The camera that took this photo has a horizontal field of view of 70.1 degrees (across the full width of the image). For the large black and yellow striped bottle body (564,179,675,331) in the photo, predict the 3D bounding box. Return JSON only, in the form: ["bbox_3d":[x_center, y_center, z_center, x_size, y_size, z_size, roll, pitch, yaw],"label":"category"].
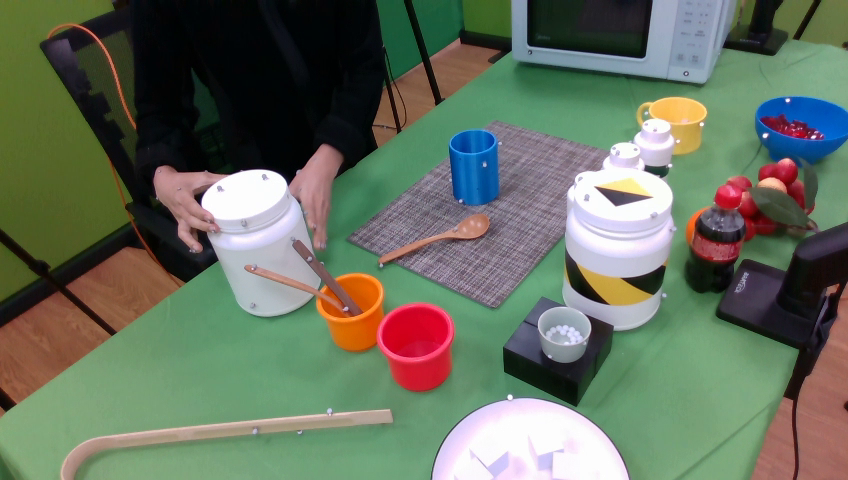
[{"bbox_3d":[0.253,0.014,0.793,0.131,0.185,0.130,-5,40,4],"label":"large black and yellow striped bottle body"}]

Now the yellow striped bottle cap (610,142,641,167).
[{"bbox_3d":[0.309,-0.131,0.925,0.044,0.019,0.044,-4,46,5],"label":"yellow striped bottle cap"}]

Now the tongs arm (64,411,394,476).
[{"bbox_3d":[-0.228,0.240,0.715,0.385,0.026,0.050,-5,44,5],"label":"tongs arm"}]

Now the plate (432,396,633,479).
[{"bbox_3d":[0.112,0.261,0.634,0.209,0.038,0.208,-5,40,4],"label":"plate"}]

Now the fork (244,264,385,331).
[{"bbox_3d":[-0.142,0.078,0.806,0.209,0.018,0.028,30,33,-23],"label":"fork"}]

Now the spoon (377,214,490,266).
[{"bbox_3d":[0.016,0.002,0.966,0.194,0.022,0.041,-18,62,-12],"label":"spoon"}]

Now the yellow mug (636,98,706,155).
[{"bbox_3d":[0.453,-0.217,1.128,0.100,0.064,0.129,-34,46,-27],"label":"yellow mug"}]

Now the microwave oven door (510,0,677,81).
[{"bbox_3d":[0.354,-0.478,1.290,0.353,0.245,0.039,15,45,25],"label":"microwave oven door"}]

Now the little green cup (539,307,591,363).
[{"bbox_3d":[0.167,0.114,0.721,0.061,0.039,0.061,-4,43,4],"label":"little green cup"}]

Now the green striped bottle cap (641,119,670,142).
[{"bbox_3d":[0.371,-0.175,0.968,0.044,0.020,0.044,-5,41,5],"label":"green striped bottle cap"}]

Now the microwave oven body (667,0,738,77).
[{"bbox_3d":[0.462,-0.552,1.369,0.439,0.261,0.326,15,45,26],"label":"microwave oven body"}]

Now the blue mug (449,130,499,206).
[{"bbox_3d":[0.091,-0.134,1.052,0.082,0.106,0.116,4,41,13],"label":"blue mug"}]

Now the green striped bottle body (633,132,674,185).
[{"bbox_3d":[0.376,-0.135,1.001,0.063,0.120,0.063,-5,40,5],"label":"green striped bottle body"}]

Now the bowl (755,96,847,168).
[{"bbox_3d":[0.645,-0.177,1.041,0.151,0.077,0.150,-5,40,4],"label":"bowl"}]

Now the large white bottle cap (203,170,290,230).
[{"bbox_3d":[-0.241,-0.056,0.822,0.115,0.018,0.114,-4,40,4],"label":"large white bottle cap"}]

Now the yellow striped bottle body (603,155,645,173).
[{"bbox_3d":[0.314,-0.090,0.957,0.063,0.121,0.062,-4,40,4],"label":"yellow striped bottle body"}]

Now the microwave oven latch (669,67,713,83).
[{"bbox_3d":[0.556,-0.348,1.262,0.078,0.029,0.030,15,46,26],"label":"microwave oven latch"}]

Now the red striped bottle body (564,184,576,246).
[{"bbox_3d":[0.247,-0.041,0.910,0.063,0.120,0.062,-3,39,3],"label":"red striped bottle body"}]

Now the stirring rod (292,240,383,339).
[{"bbox_3d":[-0.118,0.068,0.826,0.176,0.006,0.014,49,59,-4],"label":"stirring rod"}]

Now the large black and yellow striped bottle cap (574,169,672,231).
[{"bbox_3d":[0.242,-0.051,0.738,0.115,0.019,0.114,-4,37,3],"label":"large black and yellow striped bottle cap"}]

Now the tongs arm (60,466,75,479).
[{"bbox_3d":[-0.239,0.301,0.649,0.386,0.028,0.028,6,49,16],"label":"tongs arm"}]

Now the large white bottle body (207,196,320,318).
[{"bbox_3d":[-0.233,0.008,0.876,0.130,0.185,0.130,-4,40,4],"label":"large white bottle body"}]

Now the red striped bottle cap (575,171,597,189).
[{"bbox_3d":[0.242,-0.081,0.876,0.044,0.018,0.044,-5,44,5],"label":"red striped bottle cap"}]
